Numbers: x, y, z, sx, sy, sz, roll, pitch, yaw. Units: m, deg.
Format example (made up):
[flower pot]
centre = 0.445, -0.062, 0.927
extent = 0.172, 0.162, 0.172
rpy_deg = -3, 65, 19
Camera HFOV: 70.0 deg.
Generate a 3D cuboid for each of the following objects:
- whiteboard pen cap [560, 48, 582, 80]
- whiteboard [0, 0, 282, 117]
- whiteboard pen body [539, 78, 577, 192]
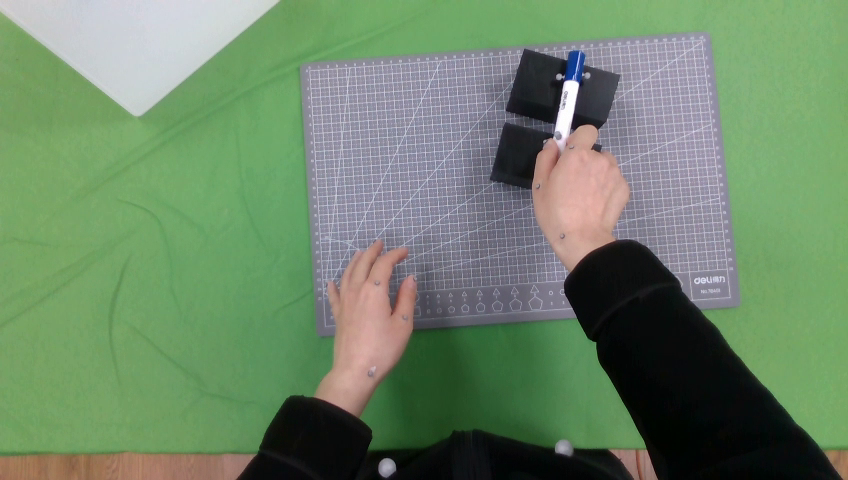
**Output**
[whiteboard pen cap]
centre = 0.146, -0.172, 0.603
extent = 0.018, 0.018, 0.033
rpy_deg = 12, 84, 2
[whiteboard]
centre = -0.310, -0.305, 0.561
extent = 0.217, 0.308, 0.142
rpy_deg = -40, 66, -2
[whiteboard pen body]
centre = 0.135, -0.115, 0.597
extent = 0.017, 0.017, 0.140
rpy_deg = 13, 84, 2
